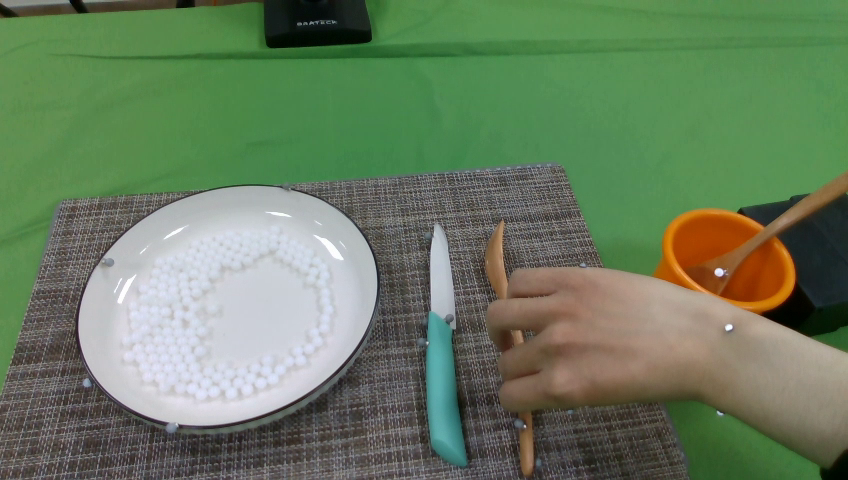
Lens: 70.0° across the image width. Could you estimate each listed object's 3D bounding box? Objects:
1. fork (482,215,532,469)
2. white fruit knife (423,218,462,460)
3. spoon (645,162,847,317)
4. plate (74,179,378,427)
[{"bbox_3d":[0.062,0.064,0.448,0.019,0.028,0.205,10,51,-21],"label":"fork"},{"bbox_3d":[0.011,0.060,0.454,0.027,0.016,0.205,22,44,-25],"label":"white fruit knife"},{"bbox_3d":[0.246,-0.006,0.440,0.022,0.194,0.041,24,33,-43],"label":"spoon"},{"bbox_3d":[-0.137,0.040,0.444,0.209,0.038,0.207,2,51,-2],"label":"plate"}]
